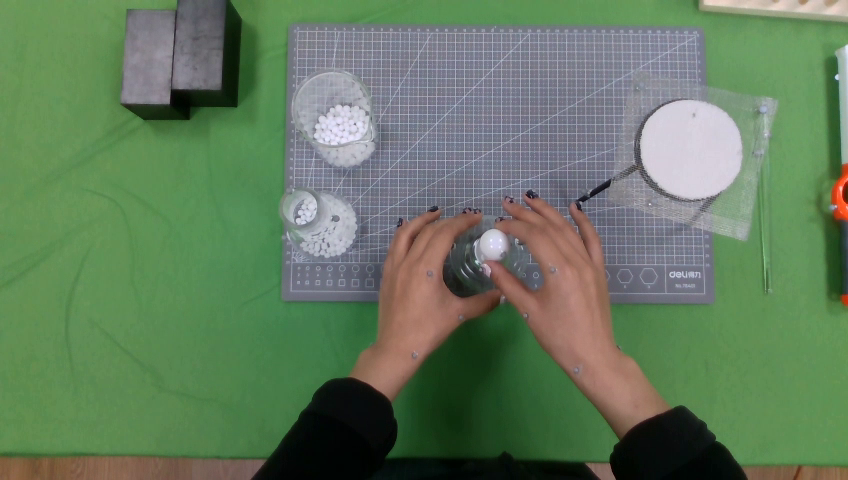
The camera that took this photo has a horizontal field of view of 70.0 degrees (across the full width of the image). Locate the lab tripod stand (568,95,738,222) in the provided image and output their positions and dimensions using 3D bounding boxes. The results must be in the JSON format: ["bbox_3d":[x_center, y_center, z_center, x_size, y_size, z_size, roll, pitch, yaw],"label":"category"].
[{"bbox_3d":[0.219,-0.070,0.577,0.148,0.131,0.148,0,86,1],"label":"lab tripod stand"}]

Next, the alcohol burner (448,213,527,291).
[{"bbox_3d":[0.061,0.011,0.580,0.078,0.119,0.077,0,85,3],"label":"alcohol burner"}]

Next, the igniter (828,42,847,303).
[{"bbox_3d":[0.450,-0.072,0.634,0.057,0.025,0.276,3,84,-9],"label":"igniter"}]

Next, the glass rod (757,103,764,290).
[{"bbox_3d":[0.356,-0.047,0.641,0.008,0.008,0.199,2,87,0],"label":"glass rod"}]

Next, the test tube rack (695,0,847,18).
[{"bbox_3d":[0.419,-0.283,0.626,0.242,0.085,0.066,4,84,1],"label":"test tube rack"}]

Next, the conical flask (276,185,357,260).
[{"bbox_3d":[-0.107,-0.022,0.577,0.075,0.122,0.075,0,84,0],"label":"conical flask"}]

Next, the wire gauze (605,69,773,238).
[{"bbox_3d":[0.223,-0.075,0.510,0.125,0.011,0.121,15,86,2],"label":"wire gauze"}]

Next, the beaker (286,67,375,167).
[{"bbox_3d":[-0.084,-0.114,0.598,0.084,0.100,0.074,37,85,3],"label":"beaker"}]

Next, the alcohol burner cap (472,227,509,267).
[{"bbox_3d":[0.061,0.004,0.542,0.034,0.048,0.033,0,78,-1],"label":"alcohol burner cap"}]
